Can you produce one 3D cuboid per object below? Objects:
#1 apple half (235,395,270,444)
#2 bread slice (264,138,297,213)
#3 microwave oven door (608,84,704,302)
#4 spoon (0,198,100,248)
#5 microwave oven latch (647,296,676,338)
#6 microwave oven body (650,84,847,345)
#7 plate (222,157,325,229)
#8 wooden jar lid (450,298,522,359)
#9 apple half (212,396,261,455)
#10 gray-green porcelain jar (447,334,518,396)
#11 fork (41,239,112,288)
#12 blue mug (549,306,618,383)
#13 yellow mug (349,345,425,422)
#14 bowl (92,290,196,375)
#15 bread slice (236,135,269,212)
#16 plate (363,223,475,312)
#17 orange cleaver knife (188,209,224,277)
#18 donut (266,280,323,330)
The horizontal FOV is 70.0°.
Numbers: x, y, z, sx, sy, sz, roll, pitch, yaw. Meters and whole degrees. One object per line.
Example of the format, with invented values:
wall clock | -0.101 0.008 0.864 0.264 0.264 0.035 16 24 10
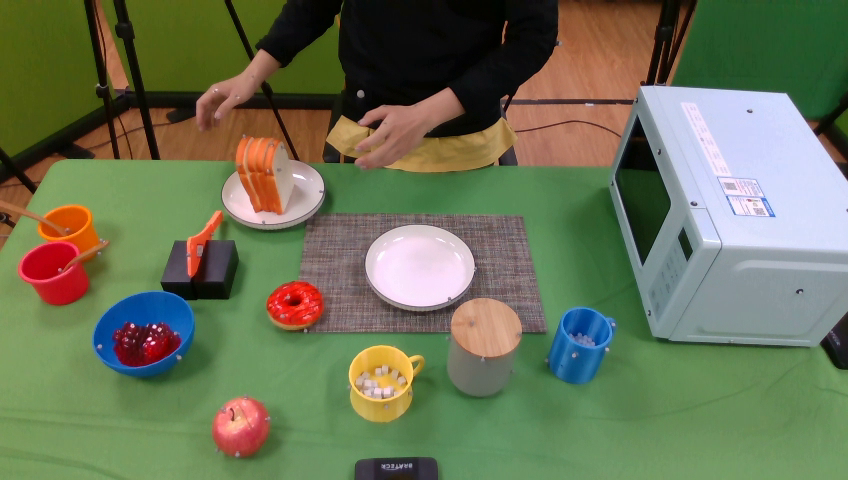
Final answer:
apple half | -0.245 0.259 0.893 0.033 0.082 0.081 -29 55 -22
bread slice | -0.287 -0.134 1.214 0.019 0.132 0.104 1 45 8
microwave oven door | 0.424 -0.096 1.138 0.039 0.245 0.353 3 46 -1
spoon | -0.684 -0.035 1.092 0.021 0.195 0.041 -32 42 28
microwave oven latch | 0.413 0.133 1.060 0.030 0.029 0.078 4 46 1
microwave oven body | 0.569 -0.054 1.116 0.326 0.261 0.439 2 46 -1
plate | -0.308 -0.094 1.251 0.209 0.038 0.208 2 46 -2
wooden jar lid | 0.093 0.135 0.914 0.108 0.021 0.107 3 48 -3
apple half | -0.276 0.276 0.877 0.053 0.075 0.080 -29 58 -21
gray-green porcelain jar | 0.091 0.178 0.960 0.106 0.127 0.105 2 46 -2
fork | -0.591 0.040 1.028 0.207 0.019 0.028 -27 37 29
blue mug | 0.269 0.167 0.997 0.116 0.106 0.082 -19 50 -21
yellow mug | -0.054 0.217 0.954 0.131 0.064 0.099 -24 52 -25
bowl | -0.436 0.161 0.971 0.151 0.077 0.150 2 46 -2
bread slice | -0.341 -0.142 1.218 0.018 0.135 0.106 -3 45 7
plate | -0.009 0.054 1.126 0.208 0.039 0.206 2 46 -2
orange cleaver knife | -0.402 0.000 1.123 0.012 0.077 0.210 1 22 -3
donut | -0.223 0.112 1.051 0.099 0.048 0.098 2 46 -1
